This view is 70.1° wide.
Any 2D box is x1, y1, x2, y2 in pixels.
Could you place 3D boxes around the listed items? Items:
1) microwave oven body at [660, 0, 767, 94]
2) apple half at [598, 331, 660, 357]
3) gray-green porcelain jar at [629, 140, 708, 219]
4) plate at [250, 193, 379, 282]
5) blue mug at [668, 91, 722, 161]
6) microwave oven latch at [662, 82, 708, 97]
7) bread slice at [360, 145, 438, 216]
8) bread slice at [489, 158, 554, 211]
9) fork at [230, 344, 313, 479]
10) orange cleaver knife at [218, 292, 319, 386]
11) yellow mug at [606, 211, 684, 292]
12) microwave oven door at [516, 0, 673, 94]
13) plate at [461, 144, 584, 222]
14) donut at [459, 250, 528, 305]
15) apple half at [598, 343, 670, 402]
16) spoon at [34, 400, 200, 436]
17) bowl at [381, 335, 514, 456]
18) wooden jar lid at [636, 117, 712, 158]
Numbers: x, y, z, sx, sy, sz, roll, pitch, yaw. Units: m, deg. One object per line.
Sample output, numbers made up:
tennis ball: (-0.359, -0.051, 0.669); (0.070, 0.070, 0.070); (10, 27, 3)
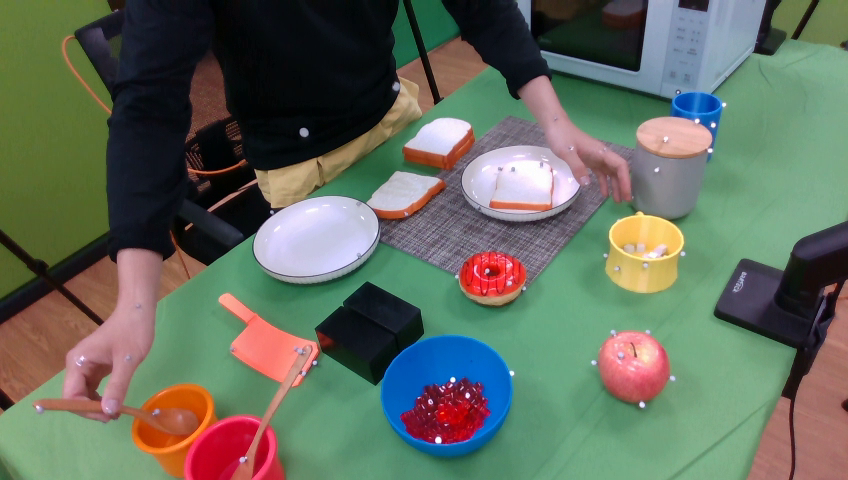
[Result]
microwave oven body: (0.474, -0.517, 1.313); (0.438, 0.261, 0.327); (26, 51, 34)
apple half: (0.249, 0.134, 0.738); (0.081, 0.081, 0.032); (-1, 46, 7)
gray-green porcelain jar: (0.383, -0.104, 0.958); (0.106, 0.127, 0.105); (-4, 41, 4)
plate: (-0.174, -0.001, 0.985); (0.209, 0.038, 0.208); (-3, 40, 3)
blue mug: (0.474, -0.206, 1.079); (0.082, 0.106, 0.116); (4, 42, 13)
microwave oven latch: (0.518, -0.298, 1.203); (0.078, 0.029, 0.030); (28, 53, 35)
bread slice: (-0.053, -0.103, 1.046); (0.106, 0.018, 0.134); (19, 67, 23)
bread slice: (0.172, -0.099, 1.047); (0.104, 0.019, 0.131); (4, 43, 12)
fork: (-0.173, 0.205, 0.662); (0.028, 0.019, 0.207); (29, 94, 35)
orange cleaver knife: (-0.235, 0.136, 0.850); (0.209, 0.012, 0.077); (25, 56, 30)
yellow mug: (0.318, 0.008, 0.883); (0.100, 0.064, 0.130); (0, 41, 9)
microwave oven door: (0.344, -0.458, 1.256); (0.353, 0.245, 0.039); (26, 52, 33)
plate: (0.167, -0.095, 1.040); (0.207, 0.039, 0.206); (-4, 41, 4)
donut: (0.100, 0.053, 0.872); (0.099, 0.048, 0.098); (-4, 40, 4)
apple half: (0.247, 0.161, 0.710); (0.081, 0.075, 0.053); (2, 47, 5)
spoon: (-0.318, 0.185, 0.645); (0.021, 0.195, 0.041); (-42, 56, 4)
bowl: (0.029, 0.192, 0.701); (0.151, 0.077, 0.150); (-4, 40, 4)
wooden jar lid: (0.377, -0.151, 0.917); (0.108, 0.021, 0.108); (-2, 41, 3)
